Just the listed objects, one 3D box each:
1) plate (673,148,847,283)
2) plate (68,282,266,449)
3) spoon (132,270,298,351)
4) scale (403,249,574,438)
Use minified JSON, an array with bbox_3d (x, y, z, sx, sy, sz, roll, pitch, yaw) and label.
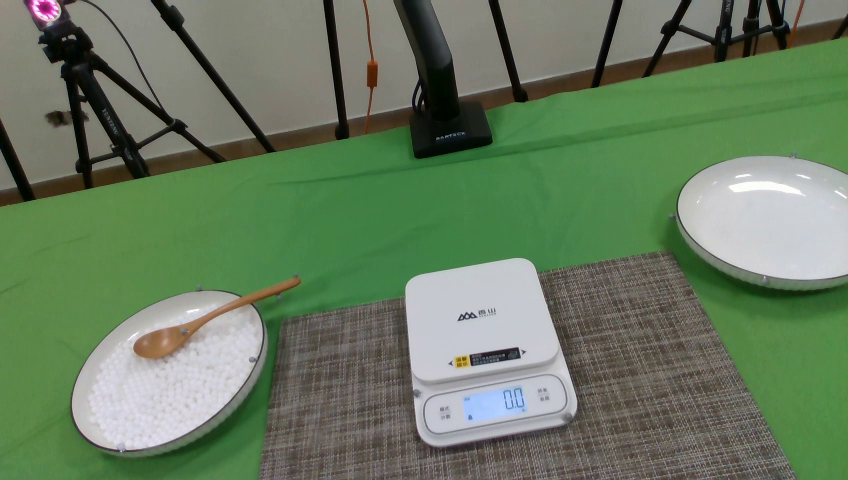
[{"bbox_3d":[0.381,-0.026,0.659,0.207,0.039,0.205,-7,42,7],"label":"plate"},{"bbox_3d":[-0.269,0.133,0.653,0.209,0.038,0.207,-7,42,6],"label":"plate"},{"bbox_3d":[-0.232,0.076,0.681,0.194,0.022,0.041,-26,43,-3],"label":"spoon"},{"bbox_3d":[0.056,0.095,0.610,0.148,0.032,0.198,-11,43,3],"label":"scale"}]
